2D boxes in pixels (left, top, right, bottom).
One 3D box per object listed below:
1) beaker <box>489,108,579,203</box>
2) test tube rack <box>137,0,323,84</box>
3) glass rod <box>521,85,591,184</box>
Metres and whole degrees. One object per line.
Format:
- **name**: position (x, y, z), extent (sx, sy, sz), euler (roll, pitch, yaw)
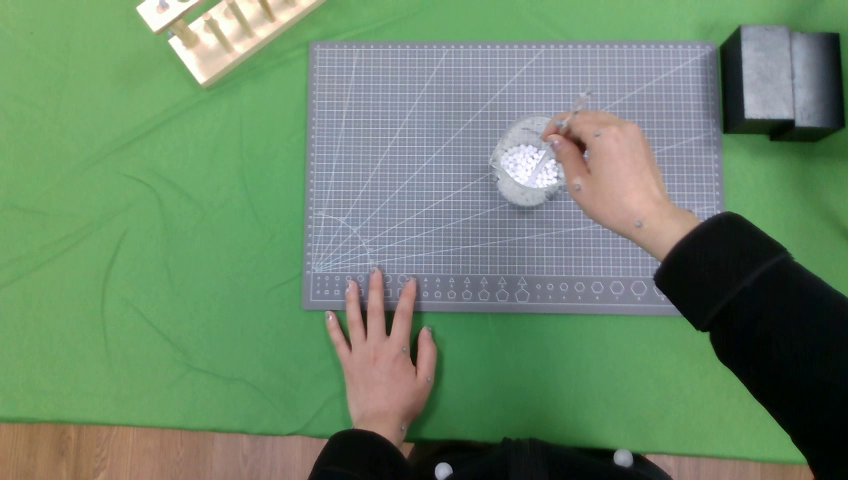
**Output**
- **beaker**: position (0.104, -0.078, 0.608), extent (0.084, 0.100, 0.074), euler (-10, 82, 1)
- **test tube rack**: position (-0.169, -0.277, 0.646), extent (0.242, 0.085, 0.066), euler (-37, 84, -3)
- **glass rod**: position (0.112, -0.087, 0.540), extent (0.008, 0.200, 0.008), euler (1, 75, -4)
